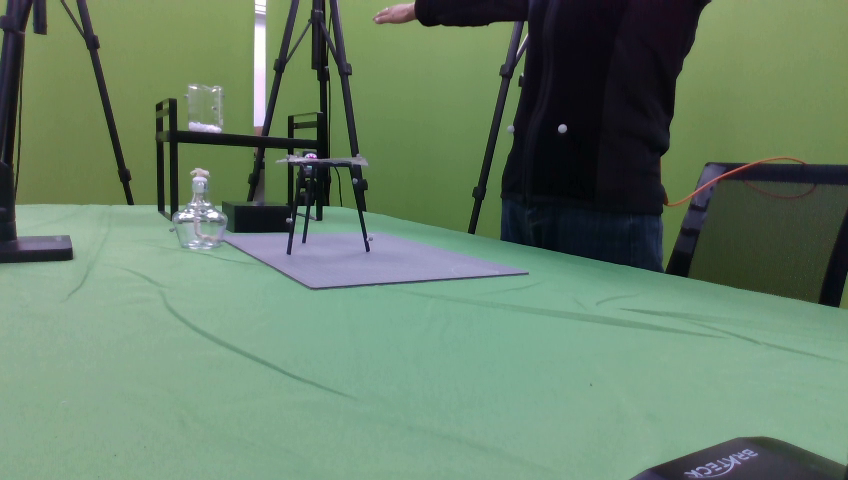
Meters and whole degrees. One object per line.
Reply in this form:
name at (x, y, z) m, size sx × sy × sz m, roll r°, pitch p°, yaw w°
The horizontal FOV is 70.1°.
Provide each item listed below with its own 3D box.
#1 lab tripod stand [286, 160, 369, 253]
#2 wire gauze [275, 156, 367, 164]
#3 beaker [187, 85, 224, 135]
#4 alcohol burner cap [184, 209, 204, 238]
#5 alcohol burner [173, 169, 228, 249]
lab tripod stand at (-0.157, -0.053, 0.901) m, size 0.148 × 0.131 × 0.148 m, roll 0°, pitch 7°, yaw 0°
wire gauze at (-0.148, -0.119, 0.895) m, size 0.121 × 0.011 × 0.125 m, roll 1°, pitch 7°, yaw -3°
beaker at (-0.466, -0.276, 1.296) m, size 0.074 × 0.100 × 0.083 m, roll -3°, pitch 10°, yaw -35°
alcohol burner cap at (-0.389, -0.029, 1.025) m, size 0.034 × 0.048 × 0.034 m, roll 2°, pitch 9°, yaw 0°
alcohol burner at (-0.333, -0.047, 0.903) m, size 0.078 × 0.119 × 0.078 m, roll 2°, pitch 6°, yaw 0°
